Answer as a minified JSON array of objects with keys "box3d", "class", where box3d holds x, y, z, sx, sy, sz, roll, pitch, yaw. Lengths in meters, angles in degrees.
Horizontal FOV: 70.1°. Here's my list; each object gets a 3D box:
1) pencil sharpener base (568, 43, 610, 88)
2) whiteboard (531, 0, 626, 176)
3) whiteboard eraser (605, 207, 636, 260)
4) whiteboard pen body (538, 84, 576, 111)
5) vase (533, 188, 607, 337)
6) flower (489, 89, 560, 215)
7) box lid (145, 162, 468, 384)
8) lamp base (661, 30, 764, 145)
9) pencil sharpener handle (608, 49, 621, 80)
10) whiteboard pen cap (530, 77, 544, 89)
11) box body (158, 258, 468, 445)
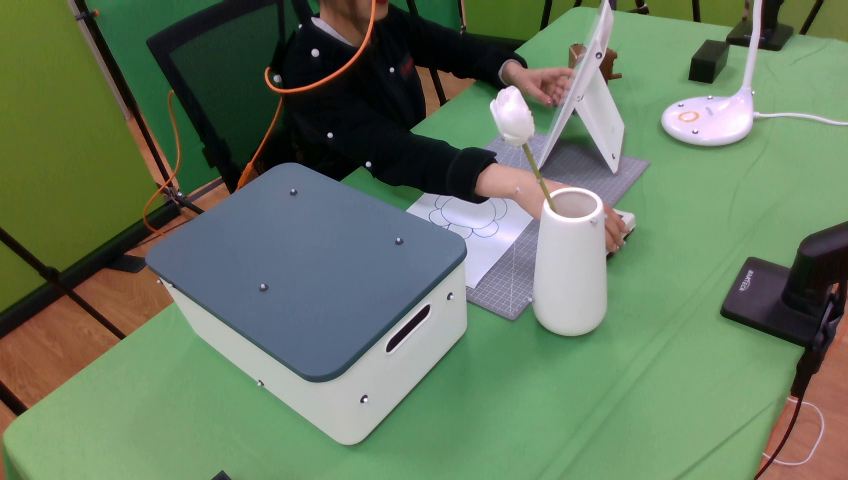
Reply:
[{"box3d":[0.345,-0.352,1.263,0.077,0.107,0.061,-8,40,1],"class":"pencil sharpener base"},{"box3d":[0.320,-0.259,1.050,0.144,0.306,0.217,22,45,5],"class":"whiteboard"},{"box3d":[0.271,-0.004,0.918,0.055,0.042,0.113,21,47,39],"class":"whiteboard eraser"},{"box3d":[0.278,-0.308,1.290,0.017,0.017,0.139,-26,46,-19],"class":"whiteboard pen body"},{"box3d":[0.187,0.033,0.771,0.098,0.201,0.097,-6,41,6],"class":"vase"},{"box3d":[0.158,-0.028,0.720,0.038,0.364,0.044,-14,44,23],"class":"flower"},{"box3d":[-0.157,0.014,0.769,0.368,0.015,0.264,25,51,33],"class":"box lid"},{"box3d":[0.535,-0.287,1.096,0.179,0.181,0.159,-10,40,-4],"class":"lamp base"},{"box3d":[0.394,-0.367,1.253,0.030,0.068,0.036,-8,32,1],"class":"pencil sharpener handle"},{"box3d":[0.248,-0.343,1.328,0.018,0.018,0.033,-23,47,-16],"class":"whiteboard pen cap"},{"box3d":[-0.147,0.072,0.816,0.361,0.161,0.255,24,50,33],"class":"box body"}]
